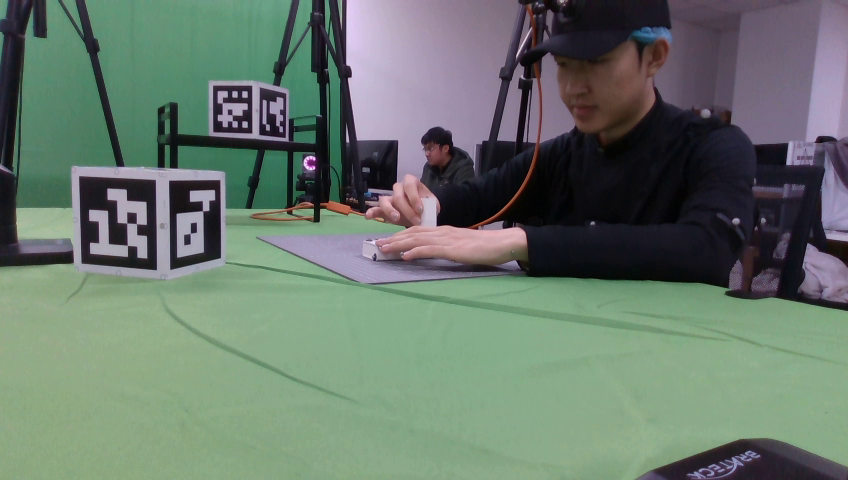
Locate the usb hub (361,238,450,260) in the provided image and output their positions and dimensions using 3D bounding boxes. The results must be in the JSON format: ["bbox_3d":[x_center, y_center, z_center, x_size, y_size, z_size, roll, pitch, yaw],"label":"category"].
[{"bbox_3d":[-0.027,0.012,0.894,0.126,0.025,0.049,-2,7,-32],"label":"usb hub"}]

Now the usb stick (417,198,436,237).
[{"bbox_3d":[0.004,-0.034,0.904,0.021,0.059,0.027,-3,3,-34],"label":"usb stick"}]
